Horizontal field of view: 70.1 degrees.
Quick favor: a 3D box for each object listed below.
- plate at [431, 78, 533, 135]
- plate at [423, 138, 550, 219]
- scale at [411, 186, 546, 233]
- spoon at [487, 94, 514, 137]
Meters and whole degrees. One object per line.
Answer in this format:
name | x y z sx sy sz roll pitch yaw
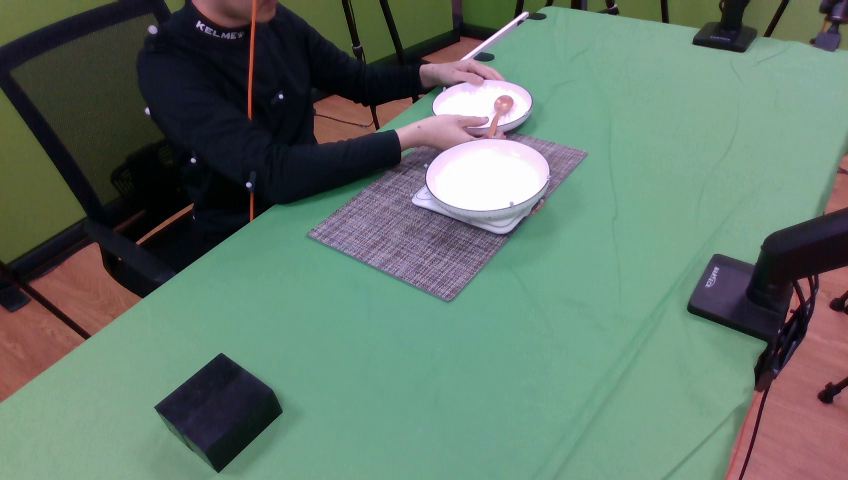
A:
plate | 0.120 -0.271 1.249 0.209 0.038 0.208 -4 40 4
plate | 0.104 -0.099 1.005 0.207 0.039 0.206 -4 41 4
scale | 0.092 -0.083 1.039 0.199 0.032 0.149 22 48 30
spoon | 0.145 -0.247 1.187 0.041 0.022 0.193 14 34 11
